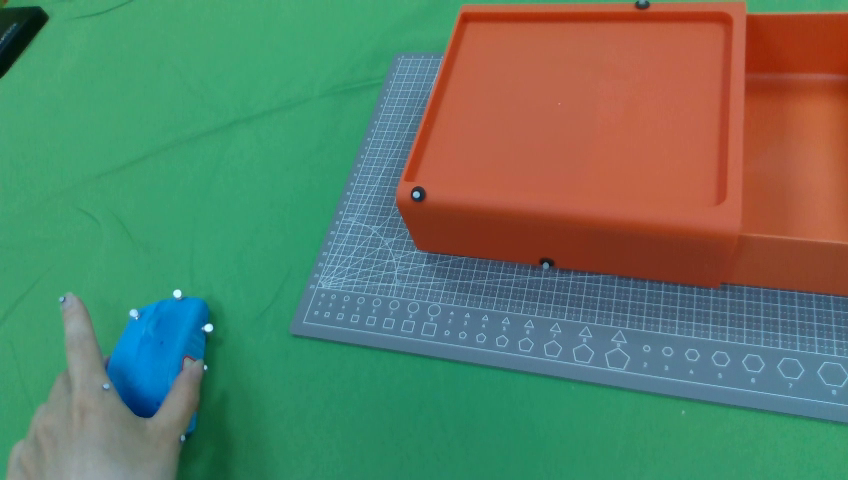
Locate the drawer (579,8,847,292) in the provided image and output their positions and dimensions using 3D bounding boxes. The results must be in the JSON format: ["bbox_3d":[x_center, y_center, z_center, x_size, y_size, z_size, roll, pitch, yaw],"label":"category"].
[{"bbox_3d":[0.220,-0.070,0.408,0.211,0.074,0.193,6,62,17],"label":"drawer"}]

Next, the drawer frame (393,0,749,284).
[{"bbox_3d":[0.111,-0.081,0.441,0.213,0.083,0.200,6,61,19],"label":"drawer frame"}]

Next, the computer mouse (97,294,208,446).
[{"bbox_3d":[-0.199,0.091,0.446,0.063,0.041,0.116,-12,54,10],"label":"computer mouse"}]
